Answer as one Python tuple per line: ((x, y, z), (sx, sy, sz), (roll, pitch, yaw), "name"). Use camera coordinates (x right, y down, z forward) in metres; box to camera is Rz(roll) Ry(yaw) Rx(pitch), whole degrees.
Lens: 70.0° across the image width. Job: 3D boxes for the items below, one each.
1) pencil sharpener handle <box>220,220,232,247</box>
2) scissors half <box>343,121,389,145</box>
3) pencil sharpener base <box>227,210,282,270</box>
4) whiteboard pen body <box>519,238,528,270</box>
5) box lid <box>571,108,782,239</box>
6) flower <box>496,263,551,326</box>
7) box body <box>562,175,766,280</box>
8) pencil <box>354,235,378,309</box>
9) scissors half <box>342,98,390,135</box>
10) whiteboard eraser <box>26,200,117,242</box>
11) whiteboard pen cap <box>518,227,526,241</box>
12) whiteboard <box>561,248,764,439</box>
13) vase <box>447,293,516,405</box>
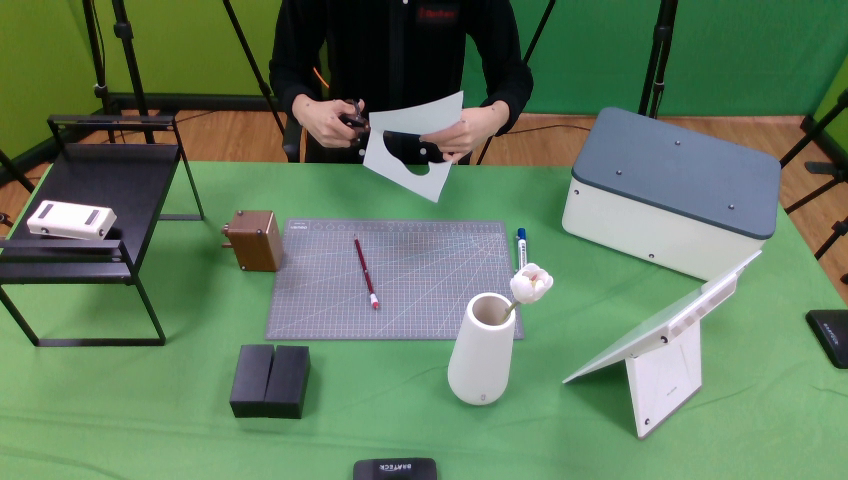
((-0.362, -0.009, 1.105), (0.030, 0.068, 0.036), (1, 52, 1), "pencil sharpener handle")
((-0.103, -0.191, 1.064), (0.013, 0.040, 0.174), (-10, 8, -30), "scissors half")
((-0.311, 0.001, 1.112), (0.077, 0.107, 0.061), (1, 47, 1), "pencil sharpener base")
((0.193, 0.035, 1.181), (0.017, 0.017, 0.140), (6, 48, 1), "whiteboard pen body")
((0.491, -0.139, 1.168), (0.370, 0.015, 0.262), (21, 49, 15), "box lid")
((0.102, 0.121, 0.853), (0.044, 0.363, 0.038), (-2, 64, -10), "flower")
((0.486, -0.088, 1.222), (0.363, 0.161, 0.253), (20, 48, 15), "box body")
((-0.113, 0.055, 1.143), (0.012, 0.012, 0.192), (-10, 46, -13), "pencil")
((-0.103, -0.212, 1.057), (0.013, 0.040, 0.174), (-15, 36, -28), "scissors half")
((-0.532, -0.026, 0.919), (0.113, 0.042, 0.055), (7, 45, 3), "whiteboard eraser")
((0.197, -0.009, 1.220), (0.018, 0.018, 0.033), (5, 51, 1), "whiteboard pen cap")
((0.386, 0.176, 0.905), (0.217, 0.306, 0.143), (-26, 72, -27), "whiteboard")
((0.091, 0.169, 0.921), (0.098, 0.201, 0.097), (3, 47, -3), "vase")
